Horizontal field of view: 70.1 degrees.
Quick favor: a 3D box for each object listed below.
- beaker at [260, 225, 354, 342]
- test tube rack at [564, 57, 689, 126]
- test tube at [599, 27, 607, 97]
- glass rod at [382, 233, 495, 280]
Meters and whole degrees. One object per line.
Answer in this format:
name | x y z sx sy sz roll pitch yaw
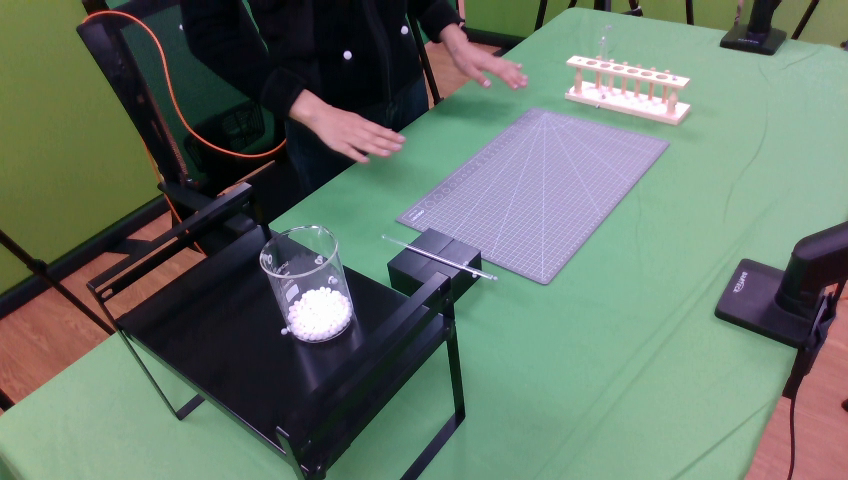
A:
beaker | -0.111 0.045 0.601 0.073 0.101 0.084 7 42 17
test tube rack | 0.411 -0.311 1.230 0.240 0.085 0.067 24 49 32
test tube | 0.358 -0.353 1.211 0.017 0.151 0.017 -8 43 8
glass rod | 0.017 0.023 0.882 0.198 0.008 0.008 21 48 29
